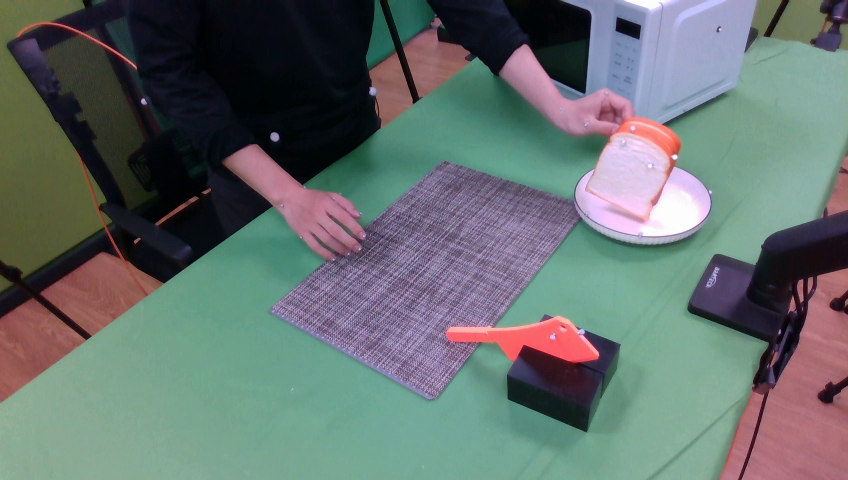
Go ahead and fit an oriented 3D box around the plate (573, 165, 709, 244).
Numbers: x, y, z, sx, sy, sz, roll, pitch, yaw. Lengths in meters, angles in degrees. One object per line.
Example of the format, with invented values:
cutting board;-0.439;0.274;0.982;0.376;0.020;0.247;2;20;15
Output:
plate;0.347;-0.059;0.978;0.207;0.039;0.206;-4;41;4

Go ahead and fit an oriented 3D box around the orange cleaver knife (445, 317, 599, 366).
orange cleaver knife;0.115;0.129;0.751;0.210;0.077;0.012;-11;30;45

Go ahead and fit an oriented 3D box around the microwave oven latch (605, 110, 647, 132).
microwave oven latch;0.379;-0.225;1.139;0.030;0.029;0.078;-26;43;-19

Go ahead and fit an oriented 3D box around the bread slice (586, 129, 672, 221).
bread slice;0.307;-0.102;0.903;0.106;0.134;0.018;27;50;20

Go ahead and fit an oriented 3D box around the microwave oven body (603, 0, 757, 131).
microwave oven body;0.396;-0.448;1.248;0.327;0.261;0.437;-27;44;-21

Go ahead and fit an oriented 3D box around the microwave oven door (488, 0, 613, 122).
microwave oven door;0.250;-0.412;1.219;0.039;0.245;0.352;-27;44;-21
